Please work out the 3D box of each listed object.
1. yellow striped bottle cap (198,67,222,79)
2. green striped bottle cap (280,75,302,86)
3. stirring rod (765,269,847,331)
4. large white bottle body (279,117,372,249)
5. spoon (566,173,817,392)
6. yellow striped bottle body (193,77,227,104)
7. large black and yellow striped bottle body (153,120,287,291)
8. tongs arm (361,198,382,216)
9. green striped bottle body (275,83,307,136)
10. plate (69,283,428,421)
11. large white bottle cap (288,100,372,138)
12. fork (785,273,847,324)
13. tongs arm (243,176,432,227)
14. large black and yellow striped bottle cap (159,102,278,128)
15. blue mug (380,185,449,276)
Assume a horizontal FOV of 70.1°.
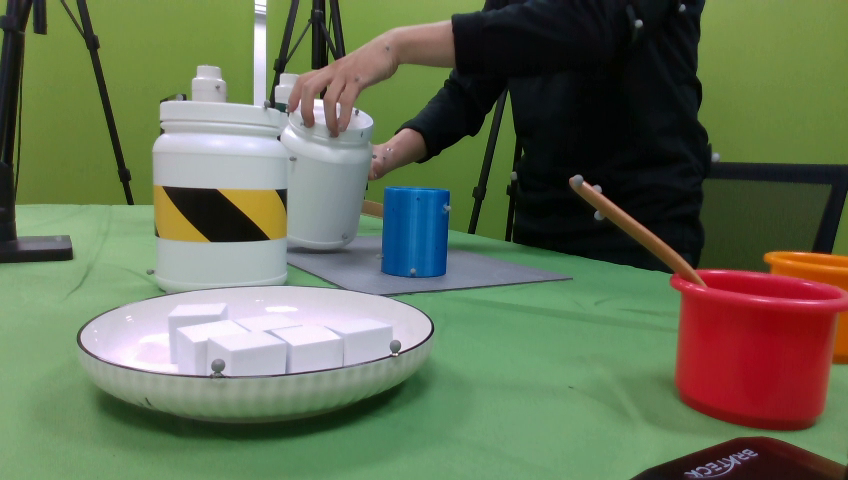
[{"bbox_3d":[-0.412,-0.320,1.163,0.044,0.018,0.044,0,6,0],"label":"yellow striped bottle cap"},{"bbox_3d":[-0.267,-0.320,1.216,0.044,0.020,0.044,4,9,0],"label":"green striped bottle cap"},{"bbox_3d":[0.352,0.020,0.484,0.176,0.006,0.014,-40,-6,13],"label":"stirring rod"},{"bbox_3d":[-0.147,-0.094,0.873,0.131,0.184,0.130,11,25,-5],"label":"large white bottle body"},{"bbox_3d":[0.161,0.024,0.370,0.193,0.021,0.042,47,17,3],"label":"spoon"},{"bbox_3d":[-0.414,-0.268,1.169,0.063,0.120,0.063,2,7,0],"label":"yellow striped bottle body"},{"bbox_3d":[-0.208,-0.042,0.626,0.131,0.184,0.130,2,7,0],"label":"large black and yellow striped bottle body"},{"bbox_3d":[-0.122,-0.067,1.147,0.387,0.026,0.050,11,-2,-37],"label":"tongs arm"},{"bbox_3d":[-0.269,-0.269,1.221,0.063,0.119,0.063,2,7,0],"label":"green striped bottle body"},{"bbox_3d":[-0.102,0.066,0.380,0.208,0.039,0.207,2,7,0],"label":"plate"},{"bbox_3d":[-0.130,-0.168,0.836,0.115,0.018,0.114,11,26,-5],"label":"large white bottle cap"},{"bbox_3d":[0.332,0.018,0.444,0.028,0.018,0.207,-1,-35,-15],"label":"fork"},{"bbox_3d":[-0.165,-0.075,1.216,0.389,0.027,0.028,11,-6,-24],"label":"tongs arm"},{"bbox_3d":[-0.207,-0.125,0.615,0.115,0.019,0.115,2,6,0],"label":"large black and yellow striped bottle cap"},{"bbox_3d":[-0.019,-0.016,0.764,0.083,0.106,0.116,-1,8,-25],"label":"blue mug"}]
